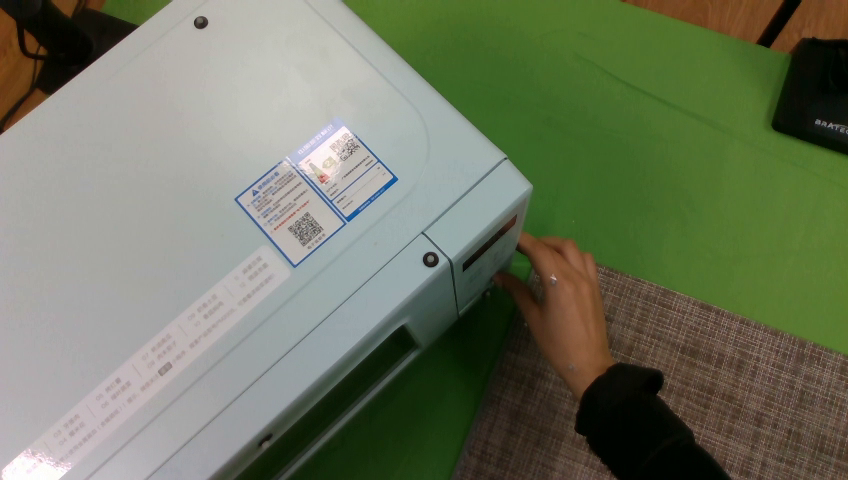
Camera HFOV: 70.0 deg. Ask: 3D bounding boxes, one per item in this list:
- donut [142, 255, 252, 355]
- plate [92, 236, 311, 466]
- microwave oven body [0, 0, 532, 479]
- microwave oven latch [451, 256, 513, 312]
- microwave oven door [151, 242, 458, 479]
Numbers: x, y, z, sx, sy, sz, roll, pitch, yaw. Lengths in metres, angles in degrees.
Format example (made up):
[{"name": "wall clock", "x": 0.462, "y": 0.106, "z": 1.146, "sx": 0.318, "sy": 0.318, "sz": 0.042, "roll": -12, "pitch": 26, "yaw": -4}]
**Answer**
[{"name": "donut", "x": -0.213, "y": 0.061, "z": 0.572, "sx": 0.099, "sy": 0.048, "sz": 0.098, "roll": 3, "pitch": 62, "yaw": -6}, {"name": "plate", "x": -0.198, "y": 0.098, "z": 0.554, "sx": 0.209, "sy": 0.038, "sz": 0.207, "roll": -4, "pitch": 69, "yaw": 11}, {"name": "microwave oven body", "x": -0.183, "y": 0.024, "z": 0.532, "sx": 0.441, "sy": 0.261, "sz": 0.324, "roll": -42, "pitch": 76, "yaw": -7}, {"name": "microwave oven latch", "x": 0.055, "y": 0.036, "z": 0.613, "sx": 0.079, "sy": 0.029, "sz": 0.030, "roll": -42, "pitch": 76, "yaw": -7}, {"name": "microwave oven door", "x": -0.115, "y": 0.152, "z": 0.486, "sx": 0.355, "sy": 0.245, "sz": 0.039, "roll": -42, "pitch": 75, "yaw": -8}]
